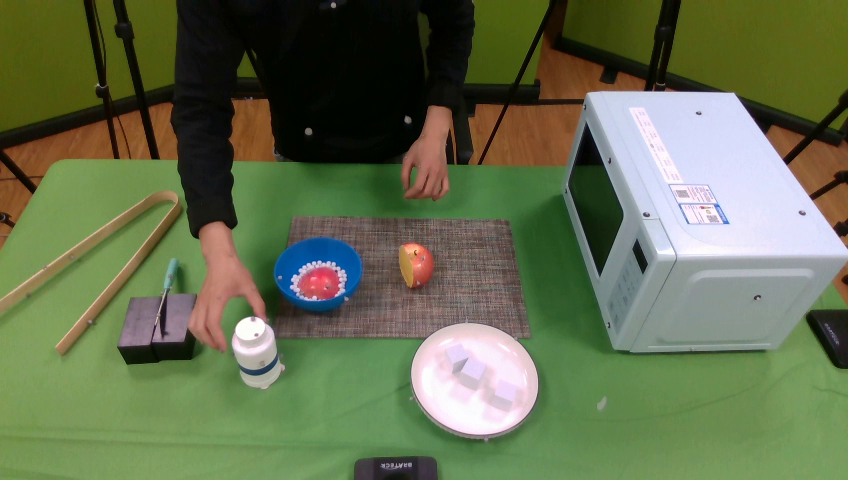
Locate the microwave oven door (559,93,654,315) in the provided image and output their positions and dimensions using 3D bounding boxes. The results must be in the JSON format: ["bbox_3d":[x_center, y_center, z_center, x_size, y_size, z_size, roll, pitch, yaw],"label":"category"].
[{"bbox_3d":[0.327,-0.074,1.123,0.039,0.245,0.353,-1,46,-5],"label":"microwave oven door"}]

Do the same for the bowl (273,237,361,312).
[{"bbox_3d":[-0.185,0.074,1.069,0.151,0.077,0.150,3,46,-3],"label":"bowl"}]

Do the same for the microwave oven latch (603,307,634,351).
[{"bbox_3d":[0.332,0.153,1.043,0.030,0.029,0.078,0,45,-4],"label":"microwave oven latch"}]

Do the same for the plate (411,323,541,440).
[{"bbox_3d":[0.082,0.228,0.976,0.208,0.039,0.206,2,45,-2],"label":"plate"}]

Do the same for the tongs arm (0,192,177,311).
[{"bbox_3d":[-0.618,0.019,1.124,0.050,0.026,0.384,24,47,16],"label":"tongs arm"}]

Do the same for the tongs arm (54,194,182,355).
[{"bbox_3d":[-0.543,0.049,1.108,0.028,0.028,0.385,12,46,9],"label":"tongs arm"}]

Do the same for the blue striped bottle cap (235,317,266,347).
[{"bbox_3d":[-0.260,0.137,0.906,0.044,0.021,0.044,3,43,-3],"label":"blue striped bottle cap"}]

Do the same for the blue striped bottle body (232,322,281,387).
[{"bbox_3d":[-0.262,0.172,0.944,0.063,0.121,0.062,2,46,-2],"label":"blue striped bottle body"}]

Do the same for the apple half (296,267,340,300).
[{"bbox_3d":[-0.186,0.070,1.067,0.081,0.033,0.081,3,47,-3],"label":"apple half"}]

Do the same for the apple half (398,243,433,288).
[{"bbox_3d":[-0.012,0.046,1.115,0.053,0.075,0.080,-11,44,-19],"label":"apple half"}]

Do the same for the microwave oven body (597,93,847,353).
[{"bbox_3d":[0.475,-0.041,1.109,0.326,0.261,0.438,-1,45,-4],"label":"microwave oven body"}]

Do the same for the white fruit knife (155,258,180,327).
[{"bbox_3d":[-0.440,0.085,1.037,0.016,0.027,0.206,11,26,-19],"label":"white fruit knife"}]
